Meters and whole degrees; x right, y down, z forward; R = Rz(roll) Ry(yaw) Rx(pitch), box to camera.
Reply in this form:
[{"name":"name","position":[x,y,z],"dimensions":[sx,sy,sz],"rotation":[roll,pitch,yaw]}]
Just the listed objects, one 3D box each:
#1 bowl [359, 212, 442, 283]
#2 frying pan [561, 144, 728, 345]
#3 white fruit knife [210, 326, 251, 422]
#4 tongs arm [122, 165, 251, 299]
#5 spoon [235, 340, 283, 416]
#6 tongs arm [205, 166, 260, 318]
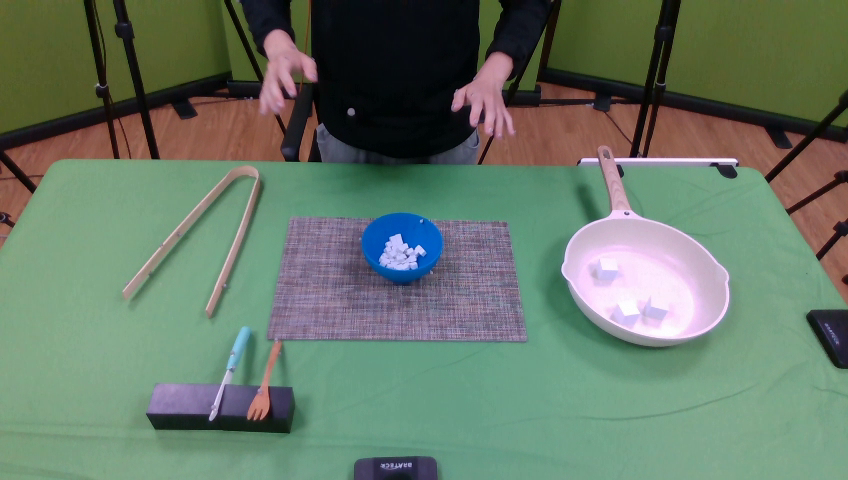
[{"name":"bowl","position":[-0.044,0.026,1.125],"dimensions":[0.151,0.077,0.150],"rotation":[2,46,-2]},{"name":"frying pan","position":[0.397,-0.008,1.179],"dimensions":[0.307,0.103,0.485],"rotation":[2,55,-4]},{"name":"white fruit knife","position":[-0.300,0.201,0.941],"dimensions":[0.016,0.027,0.206],"rotation":[-2,32,1]},{"name":"tongs arm","position":[-0.447,-0.027,1.179],"dimensions":[0.051,0.026,0.383],"rotation":[14,46,8]},{"name":"spoon","position":[-0.244,0.207,0.932],"dimensions":[0.042,0.022,0.193],"rotation":[28,25,-8]},{"name":"tongs arm","position":[-0.367,-0.010,1.175],"dimensions":[0.028,0.028,0.385],"rotation":[2,46,1]}]
